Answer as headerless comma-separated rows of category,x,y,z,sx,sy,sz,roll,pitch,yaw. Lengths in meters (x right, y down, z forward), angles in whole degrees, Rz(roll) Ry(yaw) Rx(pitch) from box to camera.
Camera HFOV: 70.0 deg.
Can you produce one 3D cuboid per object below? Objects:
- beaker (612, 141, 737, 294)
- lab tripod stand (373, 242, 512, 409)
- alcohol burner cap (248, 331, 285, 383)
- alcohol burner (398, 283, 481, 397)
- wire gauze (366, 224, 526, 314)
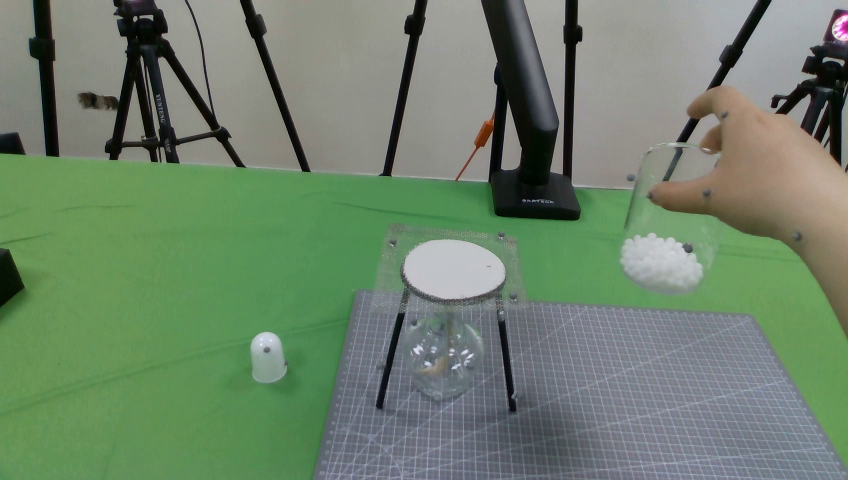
beaker,0.189,-0.013,0.471,0.074,0.101,0.083,10,38,13
lab tripod stand,0.018,0.076,0.545,0.148,0.132,0.147,1,33,0
alcohol burner cap,-0.150,0.107,0.571,0.034,0.048,0.033,3,35,-1
alcohol burner,0.016,0.085,0.549,0.078,0.120,0.077,4,35,-2
wire gauze,0.019,0.023,0.504,0.121,0.011,0.124,3,32,1
